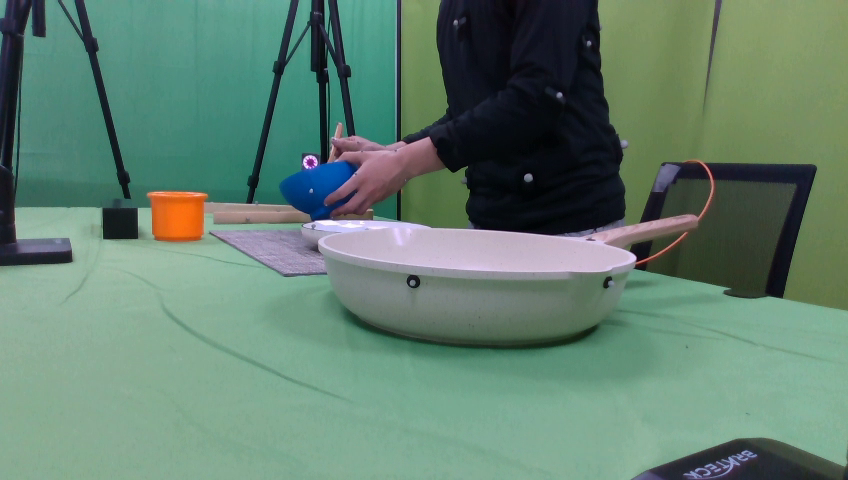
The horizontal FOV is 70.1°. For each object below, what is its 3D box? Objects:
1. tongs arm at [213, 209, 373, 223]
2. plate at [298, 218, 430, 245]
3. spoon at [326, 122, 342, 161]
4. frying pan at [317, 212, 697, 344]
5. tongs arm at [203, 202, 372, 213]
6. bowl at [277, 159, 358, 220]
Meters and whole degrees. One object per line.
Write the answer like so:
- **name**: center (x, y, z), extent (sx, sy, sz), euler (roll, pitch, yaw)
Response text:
- **tongs arm**: center (-0.274, -0.053, 1.347), extent (0.390, 0.028, 0.028), euler (-2, 7, -37)
- **plate**: center (-0.091, -0.006, 0.949), extent (0.208, 0.039, 0.207), euler (2, 7, 0)
- **spoon**: center (-0.198, -0.183, 1.289), extent (0.042, 0.193, 0.021), euler (20, -33, -15)
- **frying pan**: center (0.133, 0.013, 0.629), extent (0.490, 0.102, 0.305), euler (-12, 14, -31)
- **tongs arm**: center (-0.312, -0.068, 1.418), extent (0.387, 0.026, 0.050), euler (1, 8, -24)
- **bowl**: center (-0.186, -0.084, 1.117), extent (0.151, 0.076, 0.151), euler (-18, -6, -2)
